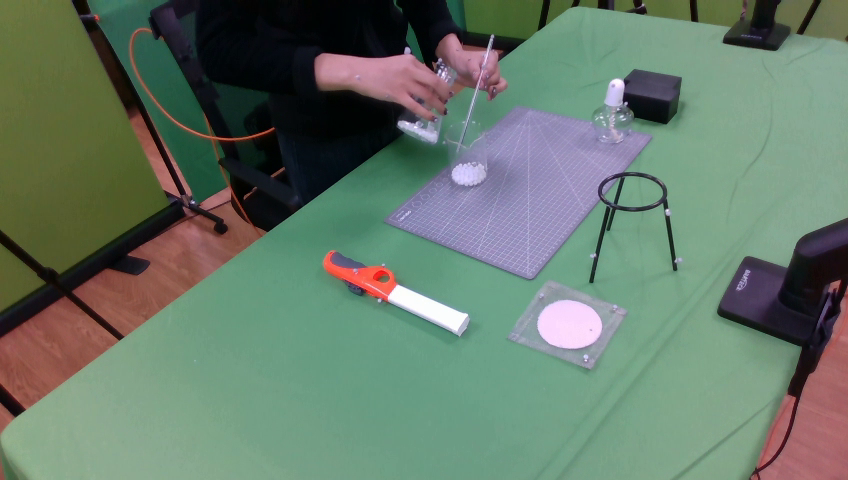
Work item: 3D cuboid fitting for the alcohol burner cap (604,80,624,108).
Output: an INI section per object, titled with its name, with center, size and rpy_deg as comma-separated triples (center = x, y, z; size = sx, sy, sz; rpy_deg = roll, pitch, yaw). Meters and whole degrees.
[alcohol burner cap]
center = 0.350, -0.269, 1.102
size = 0.034, 0.048, 0.033
rpy_deg = -2, 46, 3

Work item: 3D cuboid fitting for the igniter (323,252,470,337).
[igniter]
center = -0.052, 0.075, 0.901
size = 0.274, 0.025, 0.057
rpy_deg = 22, 60, 32

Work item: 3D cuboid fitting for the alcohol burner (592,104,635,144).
[alcohol burner]
center = 0.353, -0.242, 1.126
size = 0.078, 0.119, 0.077
rpy_deg = -5, 38, 5

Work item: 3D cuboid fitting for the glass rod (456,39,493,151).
[glass rod]
center = 0.086, -0.249, 1.043
size = 0.008, 0.199, 0.008
rpy_deg = 18, 4, -1

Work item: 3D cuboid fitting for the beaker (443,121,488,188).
[beaker]
center = 0.078, -0.150, 1.083
size = 0.074, 0.101, 0.083
rpy_deg = -9, 41, 1

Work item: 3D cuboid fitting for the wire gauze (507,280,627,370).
[wire gauze]
center = 0.196, 0.114, 0.823
size = 0.120, 0.011, 0.125
rpy_deg = 20, 50, 31

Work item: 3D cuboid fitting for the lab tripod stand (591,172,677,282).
[lab tripod stand]
center = 0.292, -0.022, 0.867
size = 0.148, 0.132, 0.147
rpy_deg = -7, 39, 6

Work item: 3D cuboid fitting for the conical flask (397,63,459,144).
[conical flask]
center = 0.014, -0.222, 0.978
size = 0.074, 0.076, 0.122
rpy_deg = 29, 93, 37
